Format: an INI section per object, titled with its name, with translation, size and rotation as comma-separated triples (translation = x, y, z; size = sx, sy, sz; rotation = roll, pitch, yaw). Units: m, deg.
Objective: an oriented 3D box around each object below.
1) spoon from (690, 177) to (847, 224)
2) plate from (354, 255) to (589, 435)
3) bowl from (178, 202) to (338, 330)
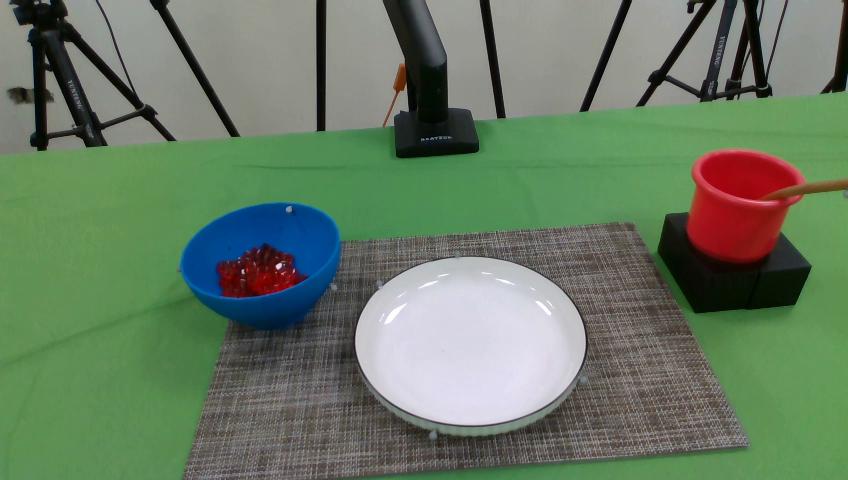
[spoon]
translation = 0.310, -0.036, 0.534
size = 0.042, 0.021, 0.193
rotation = -19, -4, -18
[plate]
translation = 0.042, 0.092, 0.552
size = 0.207, 0.039, 0.205
rotation = -2, 38, 2
[bowl]
translation = -0.156, 0.036, 0.605
size = 0.151, 0.077, 0.150
rotation = -2, 38, 2
